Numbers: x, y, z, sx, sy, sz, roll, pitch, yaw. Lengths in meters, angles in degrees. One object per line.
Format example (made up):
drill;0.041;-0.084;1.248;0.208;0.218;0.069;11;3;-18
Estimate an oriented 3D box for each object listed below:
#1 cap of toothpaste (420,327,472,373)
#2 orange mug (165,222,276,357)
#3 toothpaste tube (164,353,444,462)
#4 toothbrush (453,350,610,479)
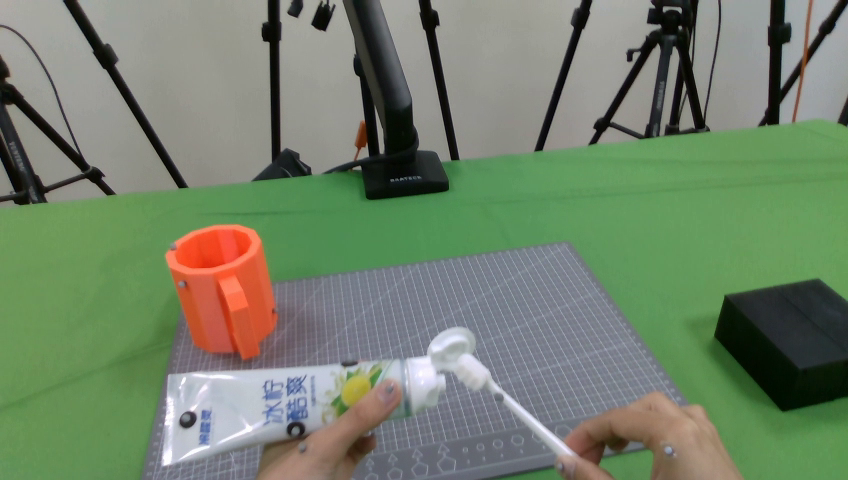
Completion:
cap of toothpaste;0.015;0.073;0.392;0.037;0.037;0.011;-13;34;-16
orange mug;-0.189;0.052;0.585;0.083;0.101;0.125;-19;32;-23
toothpaste tube;-0.070;0.092;0.364;0.165;0.035;0.054;-6;55;-8
toothbrush;0.087;0.131;0.363;0.181;0.014;0.016;41;17;7
